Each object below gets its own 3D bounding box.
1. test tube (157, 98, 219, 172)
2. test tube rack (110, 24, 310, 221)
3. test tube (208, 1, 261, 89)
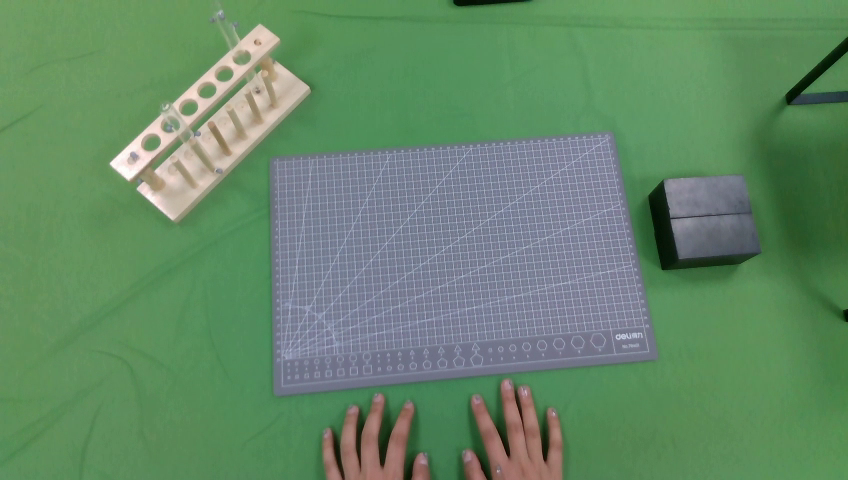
[{"bbox_3d":[-0.266,-0.116,0.689,0.017,0.151,0.017,0,70,1],"label":"test tube"},{"bbox_3d":[-0.253,-0.144,0.744,0.066,0.085,0.242,39,76,10],"label":"test tube rack"},{"bbox_3d":[-0.220,-0.226,0.717,0.017,0.151,0.017,-1,70,2],"label":"test tube"}]
